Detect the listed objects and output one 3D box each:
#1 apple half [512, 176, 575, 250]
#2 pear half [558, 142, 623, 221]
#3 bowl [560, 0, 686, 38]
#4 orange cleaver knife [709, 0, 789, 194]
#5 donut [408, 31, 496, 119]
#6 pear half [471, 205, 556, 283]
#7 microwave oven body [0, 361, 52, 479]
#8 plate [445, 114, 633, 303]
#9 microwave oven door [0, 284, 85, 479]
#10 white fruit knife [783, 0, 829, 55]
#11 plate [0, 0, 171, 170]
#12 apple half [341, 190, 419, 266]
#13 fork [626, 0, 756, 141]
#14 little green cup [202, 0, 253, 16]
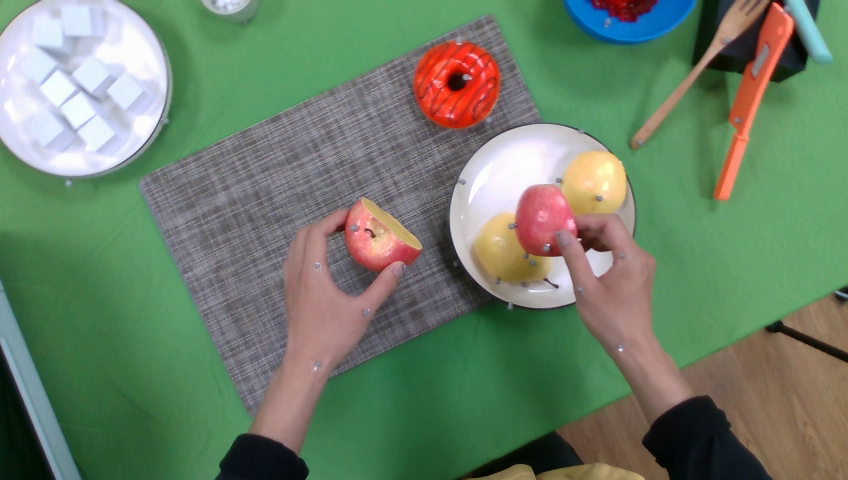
[{"bbox_3d":[0.108,-0.024,0.593,0.033,0.081,0.081,-20,89,-32],"label":"apple half"},{"bbox_3d":[0.181,-0.063,0.667,0.070,0.031,0.088,11,101,24],"label":"pear half"},{"bbox_3d":[0.209,-0.288,0.666,0.151,0.077,0.151,0,90,0],"label":"bowl"},{"bbox_3d":[0.349,-0.156,0.663,0.012,0.077,0.212,11,115,5],"label":"orange cleaver knife"},{"bbox_3d":[0.031,-0.184,0.678,0.099,0.048,0.099,0,92,3],"label":"donut"},{"bbox_3d":[0.107,0.011,0.667,0.110,0.056,0.076,38,94,-2],"label":"pear half"},{"bbox_3d":[-0.572,0.232,0.569,0.326,0.260,0.441,-23,90,-1],"label":"microwave oven body"},{"bbox_3d":[0.127,-0.035,0.681,0.209,0.038,0.209,0,90,0],"label":"plate"},{"bbox_3d":[-0.421,0.214,0.564,0.039,0.244,0.355,-23,89,0],"label":"microwave oven door"},{"bbox_3d":[0.381,-0.291,0.648,0.027,0.016,0.207,-23,88,-29],"label":"white fruit knife"},{"bbox_3d":[-0.386,-0.181,0.684,0.208,0.039,0.207,0,90,0],"label":"plate"},{"bbox_3d":[-0.049,-0.005,0.603,0.081,0.074,0.053,41,100,2],"label":"apple half"},{"bbox_3d":[0.291,-0.194,0.661,0.028,0.018,0.208,33,110,-8],"label":"fork"},{"bbox_3d":[-0.223,-0.285,0.685,0.061,0.038,0.061,0,90,1],"label":"little green cup"}]
